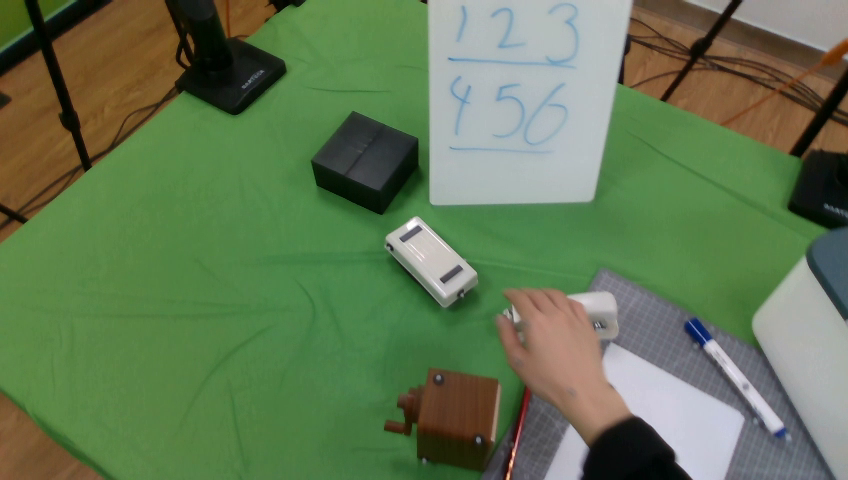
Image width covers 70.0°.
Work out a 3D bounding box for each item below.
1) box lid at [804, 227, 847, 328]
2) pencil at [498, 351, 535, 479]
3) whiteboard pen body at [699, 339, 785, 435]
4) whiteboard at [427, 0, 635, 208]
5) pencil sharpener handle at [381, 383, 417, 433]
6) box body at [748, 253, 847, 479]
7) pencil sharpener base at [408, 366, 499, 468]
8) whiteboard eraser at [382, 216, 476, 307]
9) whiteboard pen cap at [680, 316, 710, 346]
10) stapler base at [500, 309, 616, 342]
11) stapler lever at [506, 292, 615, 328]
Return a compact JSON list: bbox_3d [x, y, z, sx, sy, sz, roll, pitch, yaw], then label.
[{"bbox_3d":[0.524,0.123,0.510,0.264,0.015,0.367,-11,59,-10],"label":"box lid"},{"bbox_3d":[0.092,0.201,0.625,0.012,0.012,0.193,16,58,9],"label":"pencil"},{"bbox_3d":[0.334,0.147,0.657,0.017,0.017,0.139,-22,59,-15],"label":"whiteboard pen body"},{"bbox_3d":[0.112,-0.206,0.749,0.217,0.308,0.142,-1,38,-1],"label":"whiteboard"},{"bbox_3d":[-0.025,0.161,0.575,0.030,0.068,0.035,10,40,5],"label":"pencil sharpener handle"},{"bbox_3d":[0.523,0.165,0.571,0.254,0.161,0.360,-12,58,-9],"label":"box body"},{"bbox_3d":[0.026,0.172,0.585,0.076,0.108,0.061,10,58,5],"label":"pencil sharpener base"},{"bbox_3d":[0.005,0.026,0.717,0.055,0.042,0.112,-37,66,-19],"label":"whiteboard eraser"},{"bbox_3d":[0.308,0.104,0.687,0.018,0.018,0.033,-22,59,-15],"label":"whiteboard pen cap"},{"bbox_3d":[0.153,0.091,0.689,0.130,0.024,0.041,-2,53,0],"label":"stapler base"},{"bbox_3d":[0.151,0.078,0.668,0.118,0.040,0.026,-2,53,0],"label":"stapler lever"}]
